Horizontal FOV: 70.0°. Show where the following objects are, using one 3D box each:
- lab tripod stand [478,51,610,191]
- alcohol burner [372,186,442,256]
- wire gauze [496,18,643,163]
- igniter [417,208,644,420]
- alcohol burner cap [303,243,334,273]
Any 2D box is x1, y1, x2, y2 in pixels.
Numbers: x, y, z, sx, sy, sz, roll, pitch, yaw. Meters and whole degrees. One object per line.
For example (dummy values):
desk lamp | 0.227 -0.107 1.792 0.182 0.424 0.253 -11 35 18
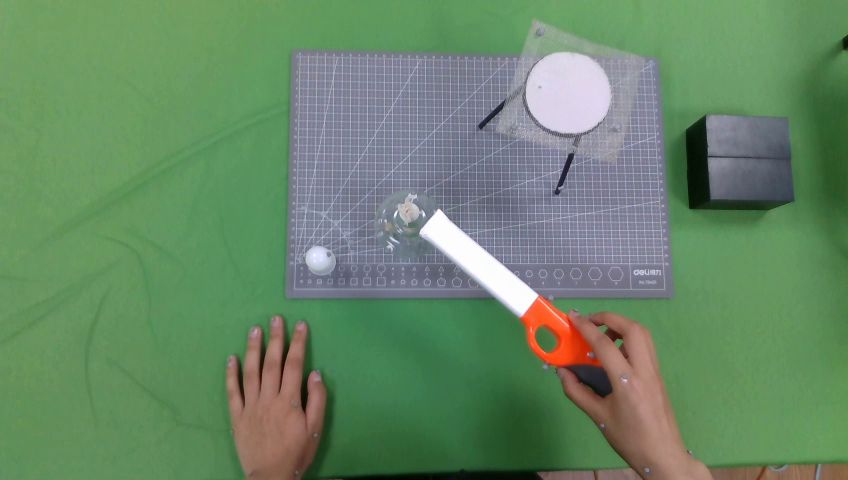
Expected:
lab tripod stand | 0.140 -0.140 0.665 0.148 0.132 0.148 1 80 -3
alcohol burner | -0.018 -0.023 0.649 0.078 0.119 0.077 0 83 -3
wire gauze | 0.146 -0.148 0.599 0.121 0.011 0.124 19 80 -1
igniter | 0.105 0.071 0.583 0.276 0.025 0.057 41 79 0
alcohol burner cap | -0.119 0.018 0.672 0.034 0.048 0.033 1 81 -4
